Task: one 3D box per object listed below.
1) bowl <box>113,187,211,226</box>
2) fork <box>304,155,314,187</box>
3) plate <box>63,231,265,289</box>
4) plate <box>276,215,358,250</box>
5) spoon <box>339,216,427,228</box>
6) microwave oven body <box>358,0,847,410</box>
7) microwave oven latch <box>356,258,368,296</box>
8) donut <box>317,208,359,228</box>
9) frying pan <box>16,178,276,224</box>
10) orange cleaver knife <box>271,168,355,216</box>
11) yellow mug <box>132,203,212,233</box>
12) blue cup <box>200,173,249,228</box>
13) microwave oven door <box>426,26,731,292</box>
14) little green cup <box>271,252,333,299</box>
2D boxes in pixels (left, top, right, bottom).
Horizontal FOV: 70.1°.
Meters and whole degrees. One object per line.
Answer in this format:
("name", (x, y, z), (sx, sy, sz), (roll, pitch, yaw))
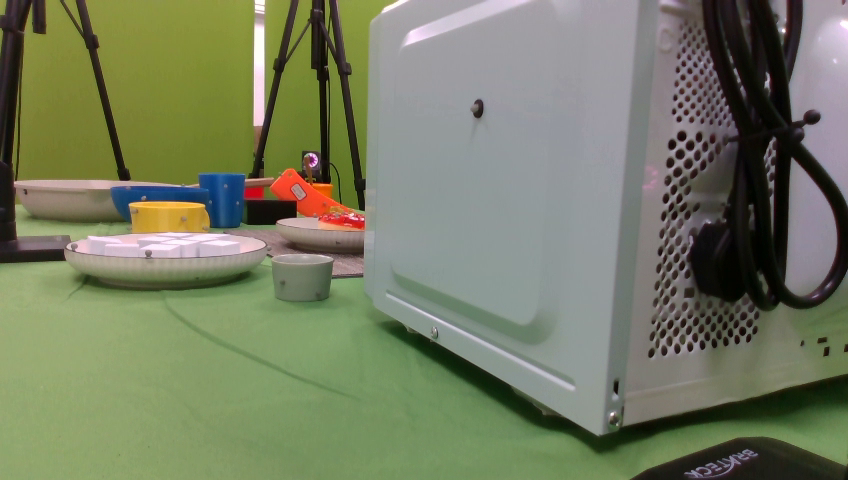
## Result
("bowl", (-0.436, -0.046, 1.013), (0.151, 0.077, 0.151), (2, 7, 0))
("fork", (-0.268, -0.134, 1.447), (0.028, 0.018, 0.207), (2, -36, -1))
("plate", (-0.288, 0.021, 0.687), (0.208, 0.039, 0.207), (2, 8, 0))
("plate", (-0.126, -0.012, 0.950), (0.209, 0.038, 0.209), (2, 7, 0))
("spoon", (-0.087, -0.041, 1.268), (0.193, 0.021, 0.041), (4, 24, 13))
("microwave oven body", (0.210, -0.051, 0.471), (0.444, 0.260, 0.324), (-1, 7, -28))
("microwave oven latch", (-0.019, 0.031, 0.528), (0.079, 0.029, 0.030), (-1, 7, -24))
("donut", (-0.118, -0.024, 0.954), (0.099, 0.048, 0.099), (6, 7, 0))
("frying pan", (-0.553, -0.096, 1.266), (0.490, 0.102, 0.305), (-10, 13, -24))
("orange cleaver knife", (-0.236, -0.084, 1.333), (0.212, 0.077, 0.012), (31, -10, -32))
("yellow mug", (-0.356, -0.020, 0.878), (0.099, 0.064, 0.131), (5, 7, 22))
("blue cup", (-0.380, -0.076, 1.155), (0.093, 0.100, 0.092), (0, 8, 0))
("microwave oven door", (0.175, -0.077, 0.630), (0.357, 0.243, 0.039), (-2, 8, -23))
("little green cup", (-0.122, 0.035, 0.605), (0.061, 0.038, 0.061), (4, 6, 0))
